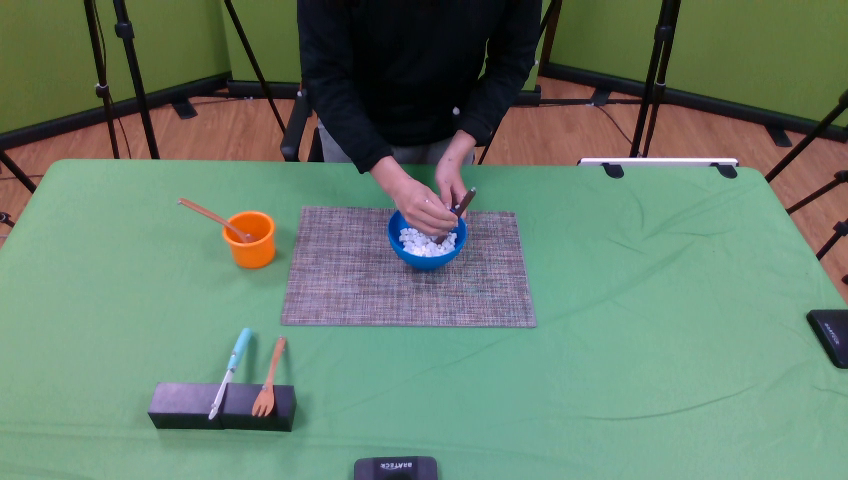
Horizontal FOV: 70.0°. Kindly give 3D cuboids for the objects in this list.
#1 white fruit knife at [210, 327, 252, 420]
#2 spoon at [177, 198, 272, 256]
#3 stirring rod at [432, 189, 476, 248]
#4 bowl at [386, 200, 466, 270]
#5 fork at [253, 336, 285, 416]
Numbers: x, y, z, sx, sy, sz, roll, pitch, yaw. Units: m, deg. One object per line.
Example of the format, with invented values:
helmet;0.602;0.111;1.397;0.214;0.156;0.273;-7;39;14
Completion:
white fruit knife;-0.298;0.200;0.937;0.016;0.027;0.206;-1;30;0
spoon;-0.361;-0.025;1.106;0.021;0.195;0.041;-32;37;28
stirring rod;0.052;-0.036;1.102;0.014;0.176;0.006;15;50;-15
bowl;0.002;0.003;1.150;0.151;0.077;0.150;2;46;-2
fork;-0.235;0.206;0.938;0.028;0.019;0.206;-2;26;-3
